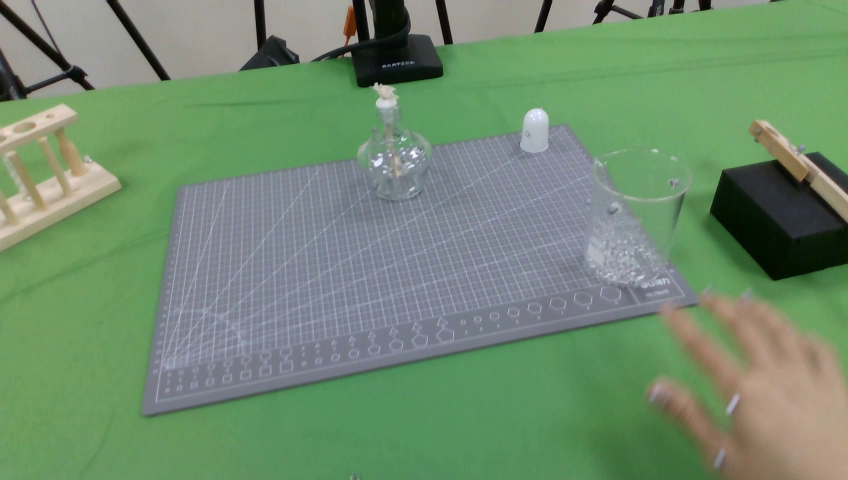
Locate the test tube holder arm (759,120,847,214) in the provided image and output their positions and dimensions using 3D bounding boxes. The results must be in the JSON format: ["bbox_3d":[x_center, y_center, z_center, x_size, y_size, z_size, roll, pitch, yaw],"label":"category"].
[{"bbox_3d":[0.343,-0.057,0.531,0.013,0.015,0.176,-6,41,-10],"label":"test tube holder arm"}]

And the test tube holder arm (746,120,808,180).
[{"bbox_3d":[0.329,-0.085,0.563,0.010,0.015,0.087,-5,41,-9],"label":"test tube holder arm"}]

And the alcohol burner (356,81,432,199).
[{"bbox_3d":[-0.032,-0.102,0.609,0.078,0.120,0.077,-4,41,3],"label":"alcohol burner"}]

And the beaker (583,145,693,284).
[{"bbox_3d":[0.172,-0.020,0.511,0.074,0.101,0.083,-32,48,-27],"label":"beaker"}]

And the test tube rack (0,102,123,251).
[{"bbox_3d":[-0.440,-0.040,0.598,0.066,0.086,0.242,29,51,31],"label":"test tube rack"}]

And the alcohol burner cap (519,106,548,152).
[{"bbox_3d":[0.123,-0.127,0.677,0.034,0.048,0.033,-2,42,2],"label":"alcohol burner cap"}]

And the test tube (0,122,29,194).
[{"bbox_3d":[-0.424,-0.109,0.598,0.017,0.151,0.017,-1,40,1],"label":"test tube"}]
